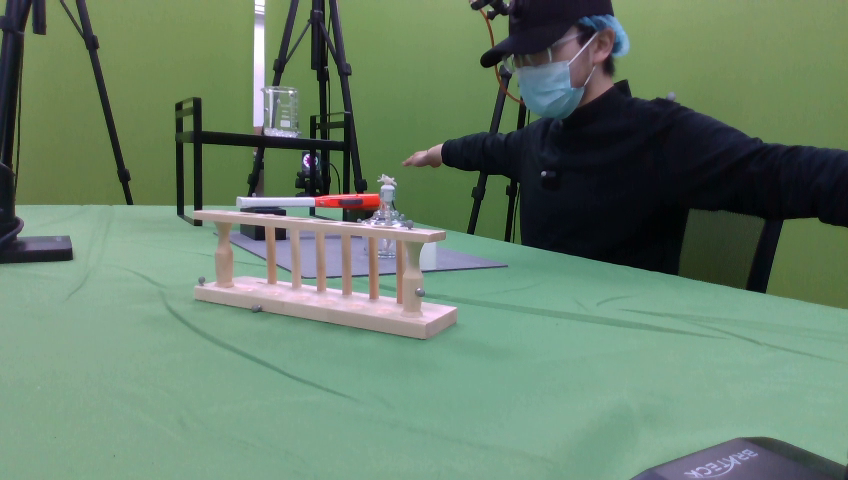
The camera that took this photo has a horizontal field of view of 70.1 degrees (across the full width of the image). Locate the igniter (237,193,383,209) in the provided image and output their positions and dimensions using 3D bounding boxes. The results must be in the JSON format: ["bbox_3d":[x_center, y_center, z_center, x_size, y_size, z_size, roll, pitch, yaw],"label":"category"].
[{"bbox_3d":[-0.191,-0.069,1.072,0.278,0.025,0.057,-5,11,-35],"label":"igniter"}]

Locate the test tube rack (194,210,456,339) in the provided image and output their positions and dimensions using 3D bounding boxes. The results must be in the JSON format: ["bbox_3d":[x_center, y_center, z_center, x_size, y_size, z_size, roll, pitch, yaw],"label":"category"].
[{"bbox_3d":[-0.093,0.023,0.545,0.241,0.085,0.067,6,8,25],"label":"test tube rack"}]

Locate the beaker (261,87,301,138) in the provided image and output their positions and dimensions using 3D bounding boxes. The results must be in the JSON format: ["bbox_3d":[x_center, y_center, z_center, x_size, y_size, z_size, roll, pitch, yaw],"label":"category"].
[{"bbox_3d":[-0.298,-0.263,1.255,0.084,0.100,0.073,-5,10,-40],"label":"beaker"}]

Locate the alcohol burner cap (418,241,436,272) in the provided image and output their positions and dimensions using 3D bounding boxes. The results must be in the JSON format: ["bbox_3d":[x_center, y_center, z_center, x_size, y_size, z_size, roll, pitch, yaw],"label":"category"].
[{"bbox_3d":[0.001,0.015,0.787,0.034,0.048,0.034,4,8,0],"label":"alcohol burner cap"}]

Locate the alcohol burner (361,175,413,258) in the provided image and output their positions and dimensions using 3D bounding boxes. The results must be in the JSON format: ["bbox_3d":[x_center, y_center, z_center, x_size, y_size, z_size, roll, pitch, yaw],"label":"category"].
[{"bbox_3d":[-0.054,-0.034,0.870,0.078,0.119,0.078,1,9,0],"label":"alcohol burner"}]
